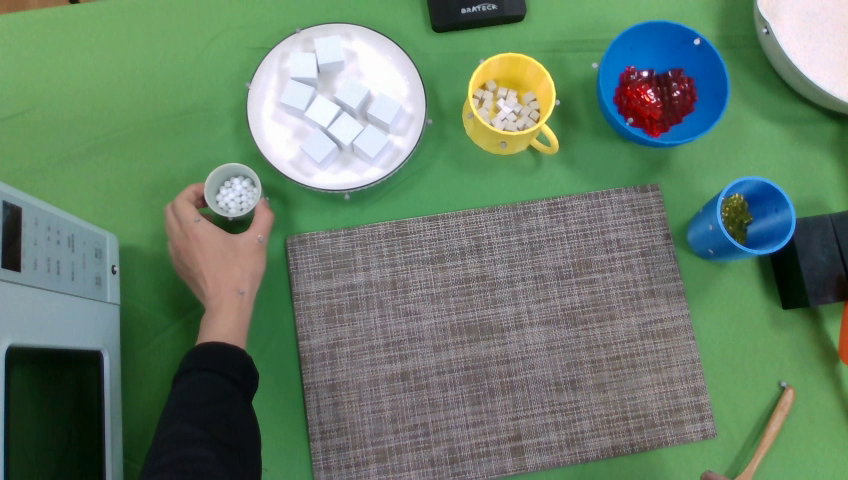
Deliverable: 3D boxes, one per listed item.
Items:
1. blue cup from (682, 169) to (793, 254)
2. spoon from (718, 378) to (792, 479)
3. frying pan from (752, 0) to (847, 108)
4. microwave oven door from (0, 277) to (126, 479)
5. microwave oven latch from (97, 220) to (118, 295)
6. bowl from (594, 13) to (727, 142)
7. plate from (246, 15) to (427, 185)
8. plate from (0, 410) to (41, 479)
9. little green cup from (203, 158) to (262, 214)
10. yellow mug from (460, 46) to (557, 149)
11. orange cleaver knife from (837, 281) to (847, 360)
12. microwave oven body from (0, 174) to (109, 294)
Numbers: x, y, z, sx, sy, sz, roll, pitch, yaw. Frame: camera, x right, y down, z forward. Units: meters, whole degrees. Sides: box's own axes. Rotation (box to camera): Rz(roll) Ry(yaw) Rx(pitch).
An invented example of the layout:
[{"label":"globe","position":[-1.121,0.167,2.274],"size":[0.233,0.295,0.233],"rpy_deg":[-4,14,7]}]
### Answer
[{"label":"blue cup","position":[0.341,-0.023,0.680],"size":[0.093,0.100,0.092],"rpy_deg":[1,78,-3]},{"label":"spoon","position":[0.367,0.236,0.676],"size":[0.041,0.022,0.193],"rpy_deg":[34,80,16]},{"label":"frying pan","position":[0.550,-0.193,0.718],"size":[0.307,0.103,0.484],"rpy_deg":[-4,72,-2]},{"label":"microwave oven door","position":[-0.323,0.216,0.516],"size":[0.039,0.244,0.354],"rpy_deg":[-6,80,-3]},{"label":"microwave oven latch","position":[-0.348,0.020,0.652],"size":[0.030,0.029,0.079],"rpy_deg":[-5,81,-4]},{"label":"bowl","position":[0.265,-0.179,0.715],"size":[0.151,0.077,0.151],"rpy_deg":[0,81,-2]},{"label":"plate","position":[-0.100,-0.162,0.715],"size":[0.208,0.039,0.207],"rpy_deg":[1,80,-2]},{"label":"plate","position":[-0.460,0.245,0.563],"size":[0.209,0.038,0.208],"rpy_deg":[1,82,-4]},{"label":"little green cup","position":[-0.212,-0.058,0.682],"size":[0.061,0.039,0.061],"rpy_deg":[1,82,-3]},{"label":"yellow mug","position":[0.107,-0.155,0.710],"size":[0.130,0.064,0.100],"rpy_deg":[44,81,4]},{"label":"orange cleaver knife","position":[0.490,0.120,0.672],"size":[0.012,0.076,0.212],"rpy_deg":[-9,109,-4]},{"label":"microwave oven body","position":[-0.474,0.189,0.519],"size":[0.326,0.261,0.440],"rpy_deg":[-5,81,-4]}]
